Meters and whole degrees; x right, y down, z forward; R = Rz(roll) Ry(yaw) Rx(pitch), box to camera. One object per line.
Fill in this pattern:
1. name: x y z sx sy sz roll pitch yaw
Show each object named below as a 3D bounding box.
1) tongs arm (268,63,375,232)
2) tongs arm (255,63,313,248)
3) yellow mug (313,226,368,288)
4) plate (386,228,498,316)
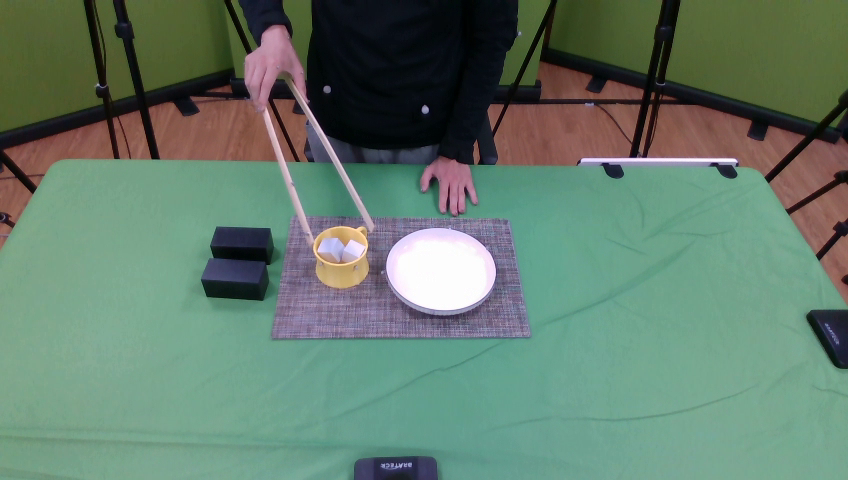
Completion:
1. tongs arm: -0.188 -0.176 1.112 0.028 0.028 0.386 -25 73 -24
2. tongs arm: -0.244 -0.160 1.082 0.051 0.026 0.383 -15 68 -25
3. yellow mug: -0.146 0.021 1.132 0.099 0.064 0.130 24 49 19
4. plate: 0.032 0.062 1.126 0.208 0.039 0.206 2 46 -2
